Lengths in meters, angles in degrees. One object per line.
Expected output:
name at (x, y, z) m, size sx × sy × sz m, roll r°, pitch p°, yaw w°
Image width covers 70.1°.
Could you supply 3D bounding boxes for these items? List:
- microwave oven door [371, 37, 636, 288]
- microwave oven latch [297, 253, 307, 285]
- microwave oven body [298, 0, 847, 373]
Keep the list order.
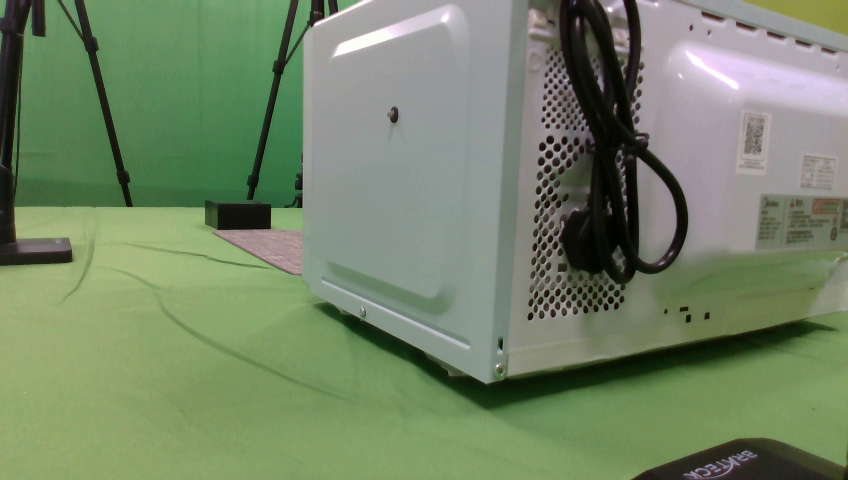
microwave oven door at (0.109, -0.080, 0.686) m, size 0.358 × 0.243 × 0.039 m, roll -2°, pitch 9°, yaw -33°
microwave oven latch at (-0.082, 0.027, 0.582) m, size 0.079 × 0.029 × 0.030 m, roll -1°, pitch 7°, yaw -32°
microwave oven body at (0.151, -0.055, 0.543) m, size 0.444 × 0.260 × 0.324 m, roll -1°, pitch 7°, yaw -33°
